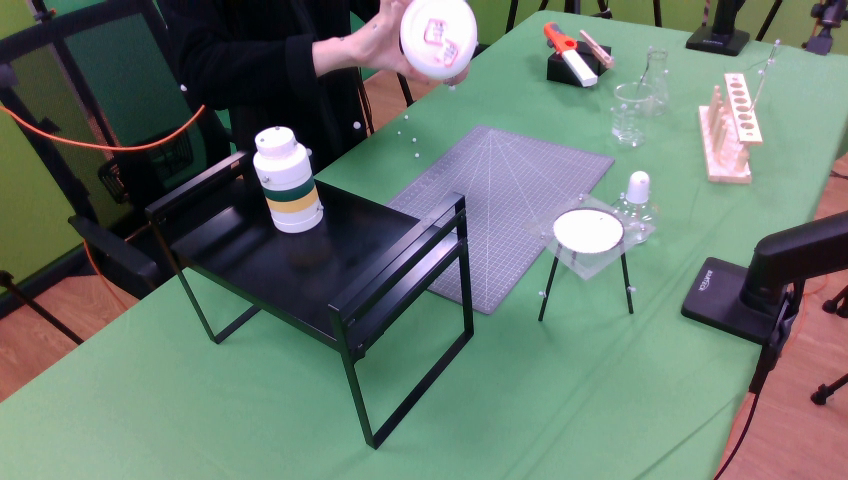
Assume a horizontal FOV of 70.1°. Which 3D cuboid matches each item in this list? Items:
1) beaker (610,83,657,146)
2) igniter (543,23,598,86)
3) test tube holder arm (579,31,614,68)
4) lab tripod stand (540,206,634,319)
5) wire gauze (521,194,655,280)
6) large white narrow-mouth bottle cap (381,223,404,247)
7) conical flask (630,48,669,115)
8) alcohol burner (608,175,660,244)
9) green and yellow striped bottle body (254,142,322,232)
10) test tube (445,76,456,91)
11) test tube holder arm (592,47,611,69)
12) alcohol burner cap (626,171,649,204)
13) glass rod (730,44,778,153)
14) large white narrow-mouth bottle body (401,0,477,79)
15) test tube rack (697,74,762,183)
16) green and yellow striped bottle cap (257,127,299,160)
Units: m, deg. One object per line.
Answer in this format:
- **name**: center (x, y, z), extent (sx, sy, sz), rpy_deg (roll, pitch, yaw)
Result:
- **beaker**: center (0.388, -0.235, 1.138), extent (0.074, 0.101, 0.083), rpy_deg (-31, 45, -25)
- **igniter**: center (0.320, -0.419, 1.345), extent (0.057, 0.025, 0.274), rpy_deg (-12, 44, -3)
- **test tube holder arm**: center (0.384, -0.428, 1.351), extent (0.013, 0.015, 0.177), rpy_deg (-10, 41, -4)
- **lab tripod stand**: center (0.218, 0.034, 0.821), extent (0.148, 0.132, 0.147), rpy_deg (-4, 42, 4)
- **wire gauze**: center (0.207, -0.012, 0.772), extent (0.122, 0.011, 0.124), rpy_deg (-28, 44, -20)
- **large white narrow-mouth bottle cap**: center (-0.052, -0.009, 0.992), extent (0.038, 0.024, 0.037), rpy_deg (-5, 39, 4)
- **conical flask**: center (0.457, -0.317, 1.205), extent (0.075, 0.122, 0.075), rpy_deg (-4, 41, 4)
- **alcohol burner**: center (0.323, -0.053, 0.924), extent (0.078, 0.119, 0.077), rpy_deg (-4, 43, 4)
- **green and yellow striped bottle body**: center (-0.165, -0.073, 0.732), extent (0.063, 0.120, 0.063), rpy_deg (-4, 41, 4)
- **test tube**: center (0.041, -0.281, 1.025), extent (0.017, 0.017, 0.150), rpy_deg (-1, -3, 8)
- **test tube holder arm**: center (0.386, -0.398, 1.317), extent (0.010, 0.015, 0.087), rpy_deg (-10, 41, -3)
- **alcohol burner cap**: center (0.320, -0.081, 0.900), extent (0.034, 0.048, 0.033), rpy_deg (-4, 42, 4)
- **glass rod**: center (0.555, -0.234, 1.020), extent (0.008, 0.200, 0.008), rpy_deg (2, 40, -1)
- **large white narrow-mouth bottle body**: center (0.022, -0.280, 0.857), extent (0.102, 0.102, 0.194), rpy_deg (-5, 11, 2)
- **test tube rack**: center (0.547, -0.208, 1.095), extent (0.066, 0.085, 0.242), rpy_deg (5, 42, 15)
- **green and yellow striped bottle cap**: center (-0.169, -0.112, 0.698), extent (0.045, 0.020, 0.045), rpy_deg (-5, 40, 5)
